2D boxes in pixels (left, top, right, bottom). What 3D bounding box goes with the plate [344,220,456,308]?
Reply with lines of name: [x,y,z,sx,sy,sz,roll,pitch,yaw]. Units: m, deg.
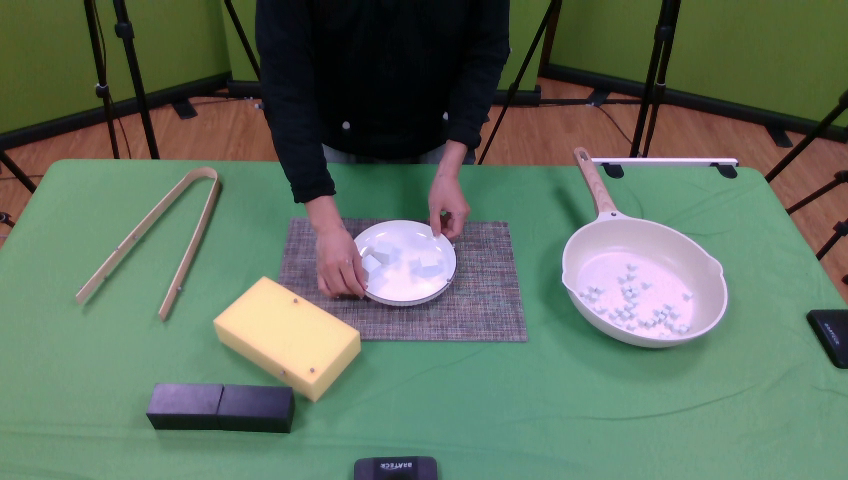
plate: [-0.044,0.047,1.134,0.208,0.039,0.206,2,46,-2]

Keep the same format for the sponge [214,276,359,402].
sponge: [-0.224,0.158,0.998,0.206,0.061,0.118,27,52,18]

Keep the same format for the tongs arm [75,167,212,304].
tongs arm: [-0.525,-0.021,1.167,0.051,0.026,0.383,13,46,7]

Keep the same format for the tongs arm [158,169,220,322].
tongs arm: [-0.446,-0.005,1.164,0.028,0.028,0.385,2,46,0]

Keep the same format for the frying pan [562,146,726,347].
frying pan: [0.378,-0.005,1.175,0.307,0.103,0.484,-4,55,-10]
